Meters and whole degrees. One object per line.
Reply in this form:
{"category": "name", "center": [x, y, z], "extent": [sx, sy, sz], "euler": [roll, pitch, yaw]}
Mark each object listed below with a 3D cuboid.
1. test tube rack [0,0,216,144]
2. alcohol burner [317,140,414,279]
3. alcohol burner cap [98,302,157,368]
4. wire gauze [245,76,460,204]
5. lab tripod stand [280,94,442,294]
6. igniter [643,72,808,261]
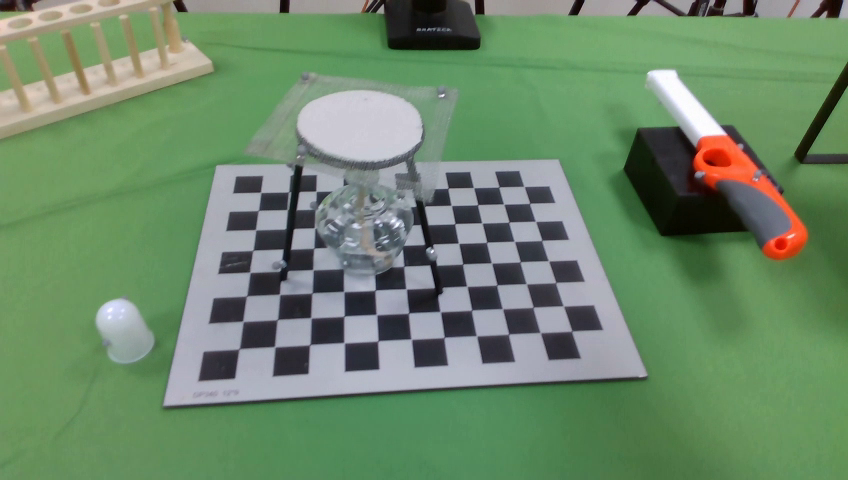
{"category": "test tube rack", "center": [-0.355, -0.190, 0.639], "extent": [0.242, 0.086, 0.066], "euler": [-29, 54, -29]}
{"category": "alcohol burner", "center": [-0.047, -0.026, 0.475], "extent": [0.078, 0.120, 0.077], "euler": [1, 46, 0]}
{"category": "alcohol burner cap", "center": [-0.213, 0.065, 0.429], "extent": [0.034, 0.048, 0.033], "euler": [3, 45, -3]}
{"category": "wire gauze", "center": [-0.043, -0.077, 0.417], "extent": [0.125, 0.011, 0.120], "euler": [11, 45, 5]}
{"category": "lab tripod stand", "center": [-0.043, -0.032, 0.467], "extent": [0.148, 0.132, 0.147], "euler": [4, 44, -3]}
{"category": "igniter", "center": [0.265, -0.081, 0.553], "extent": [0.057, 0.025, 0.273], "euler": [-4, 43, -4]}
